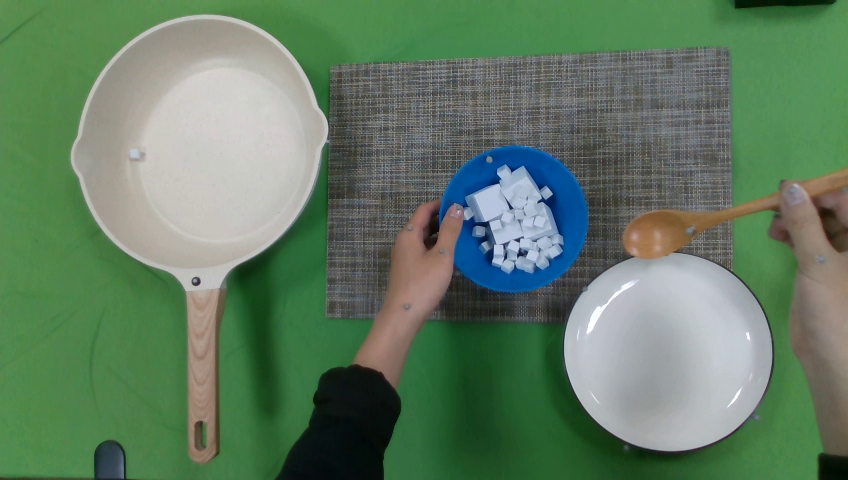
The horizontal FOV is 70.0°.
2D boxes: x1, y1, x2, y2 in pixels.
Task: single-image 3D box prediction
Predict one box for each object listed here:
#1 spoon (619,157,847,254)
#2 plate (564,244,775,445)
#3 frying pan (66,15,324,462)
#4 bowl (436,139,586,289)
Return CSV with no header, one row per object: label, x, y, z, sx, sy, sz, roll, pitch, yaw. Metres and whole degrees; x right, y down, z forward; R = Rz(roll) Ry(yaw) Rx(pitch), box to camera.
spoon,0.241,-0.028,0.469,0.193,0.022,0.041,-22,92,47
plate,0.252,0.107,0.638,0.207,0.039,0.207,0,90,8
frying pan,-0.249,-0.005,0.684,0.306,0.103,0.485,-5,78,9
bowl,0.092,-0.023,0.644,0.151,0.077,0.151,0,87,8
